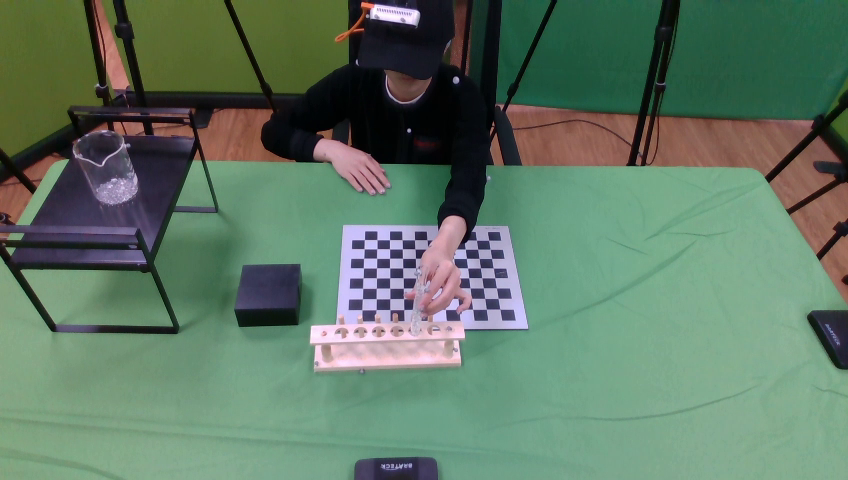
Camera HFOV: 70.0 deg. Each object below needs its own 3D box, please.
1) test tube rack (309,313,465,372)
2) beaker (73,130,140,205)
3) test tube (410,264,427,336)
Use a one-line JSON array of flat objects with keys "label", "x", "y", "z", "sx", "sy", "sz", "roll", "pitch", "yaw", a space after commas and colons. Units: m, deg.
[{"label": "test tube rack", "x": -0.059, "y": 0.161, "z": 0.990, "sx": 0.242, "sy": 0.085, "sz": 0.066, "roll": -1, "pitch": 46, "yaw": -5}, {"label": "beaker", "x": -0.500, "y": -0.110, "z": 0.963, "sx": 0.074, "sy": 0.101, "sz": 0.083, "roll": -14, "pitch": 49, "yaw": -16}, {"label": "test tube", "x": -0.009, "y": 0.096, "z": 0.914, "sx": 0.017, "sy": 0.151, "sz": 0.017, "roll": 4, "pitch": 38, "yaw": -3}]
